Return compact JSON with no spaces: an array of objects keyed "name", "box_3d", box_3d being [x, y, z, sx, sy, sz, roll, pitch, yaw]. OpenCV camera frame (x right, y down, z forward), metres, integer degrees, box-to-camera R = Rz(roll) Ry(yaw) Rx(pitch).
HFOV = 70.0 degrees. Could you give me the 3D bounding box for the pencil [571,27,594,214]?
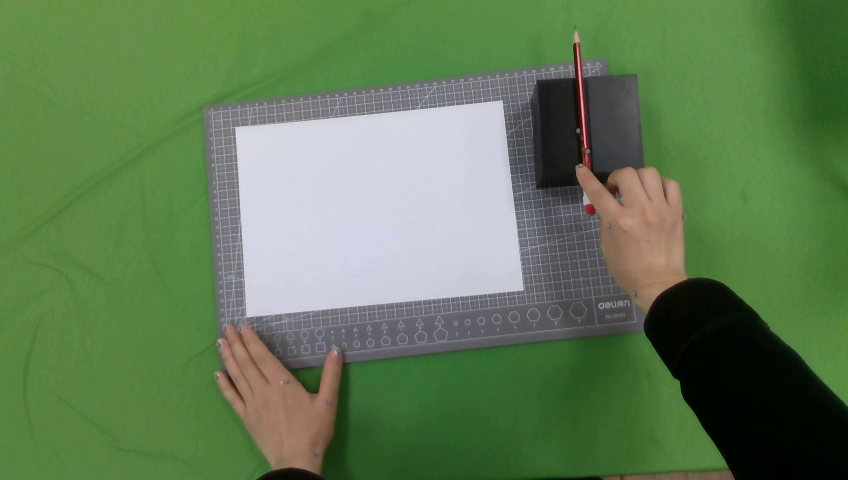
[{"name":"pencil","box_3d":[0.157,-0.122,0.606,0.012,0.012,0.193,-3,83,2]}]
